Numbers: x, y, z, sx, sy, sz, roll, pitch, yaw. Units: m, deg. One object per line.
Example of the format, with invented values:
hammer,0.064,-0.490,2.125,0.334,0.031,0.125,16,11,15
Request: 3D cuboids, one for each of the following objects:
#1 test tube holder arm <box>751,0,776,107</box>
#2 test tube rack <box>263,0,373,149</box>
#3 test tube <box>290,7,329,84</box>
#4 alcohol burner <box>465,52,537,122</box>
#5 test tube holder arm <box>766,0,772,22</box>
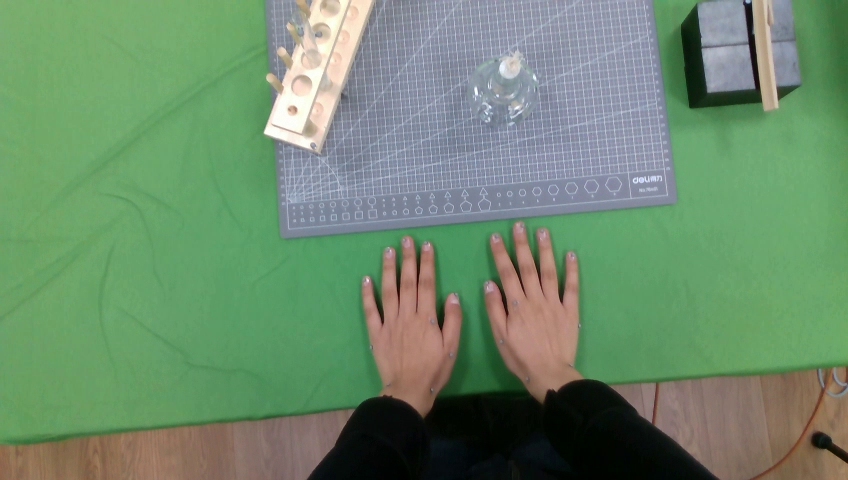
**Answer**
test tube holder arm,0.353,-0.227,0.634,0.013,0.015,0.178,1,85,-30
test tube rack,-0.116,-0.233,0.670,0.066,0.085,0.242,19,86,5
test tube,-0.114,-0.193,0.616,0.017,0.150,0.017,0,83,-1
alcohol burner,0.083,-0.168,0.642,0.078,0.119,0.077,0,83,1
test tube holder arm,0.357,-0.272,0.641,0.010,0.015,0.087,3,84,-30
